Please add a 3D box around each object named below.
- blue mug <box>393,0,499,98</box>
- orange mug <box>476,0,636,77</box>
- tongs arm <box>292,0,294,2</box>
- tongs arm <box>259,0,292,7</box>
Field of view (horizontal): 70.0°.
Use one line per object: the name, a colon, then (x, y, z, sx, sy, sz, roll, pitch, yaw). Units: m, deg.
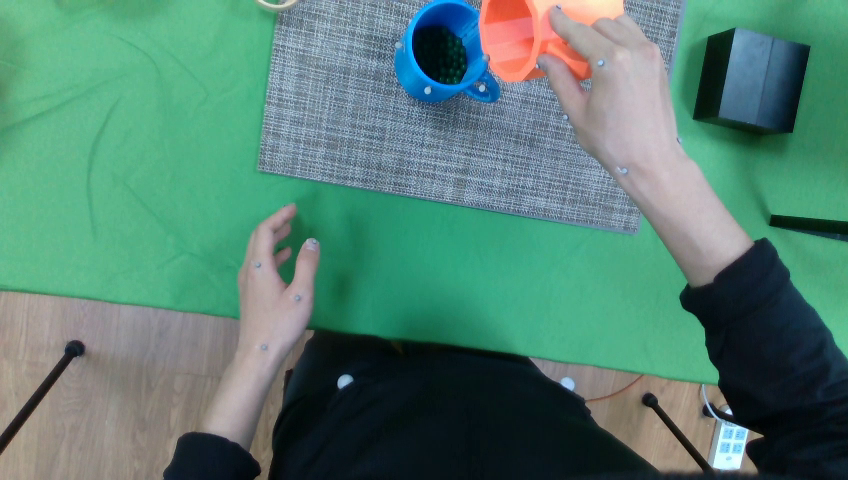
blue mug: (0.027, -0.184, 0.619, 0.117, 0.105, 0.082, 35, 90, -13)
orange mug: (0.118, -0.184, 0.526, 0.101, 0.125, 0.084, -15, 138, -23)
tongs arm: (-0.166, -0.431, 0.570, 0.028, 0.027, 0.389, -18, 108, -16)
tongs arm: (-0.242, -0.396, 0.558, 0.051, 0.026, 0.387, -31, 109, -8)
